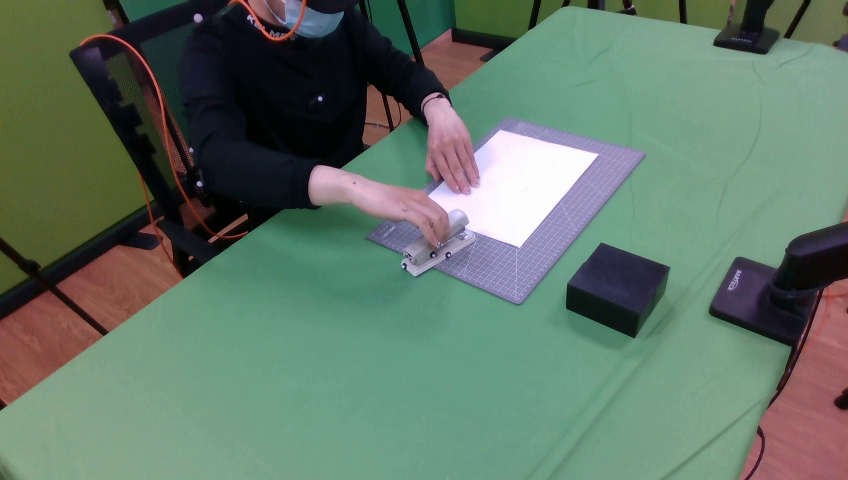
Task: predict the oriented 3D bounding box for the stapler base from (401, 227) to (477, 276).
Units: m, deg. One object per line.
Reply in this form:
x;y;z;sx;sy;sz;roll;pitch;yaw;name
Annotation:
0.025;0.009;0.951;0.131;0.024;0.041;-31;44;-23;stapler base

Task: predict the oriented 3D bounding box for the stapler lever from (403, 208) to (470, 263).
0.021;-0.009;0.933;0.118;0.040;0.026;-31;44;-23;stapler lever
